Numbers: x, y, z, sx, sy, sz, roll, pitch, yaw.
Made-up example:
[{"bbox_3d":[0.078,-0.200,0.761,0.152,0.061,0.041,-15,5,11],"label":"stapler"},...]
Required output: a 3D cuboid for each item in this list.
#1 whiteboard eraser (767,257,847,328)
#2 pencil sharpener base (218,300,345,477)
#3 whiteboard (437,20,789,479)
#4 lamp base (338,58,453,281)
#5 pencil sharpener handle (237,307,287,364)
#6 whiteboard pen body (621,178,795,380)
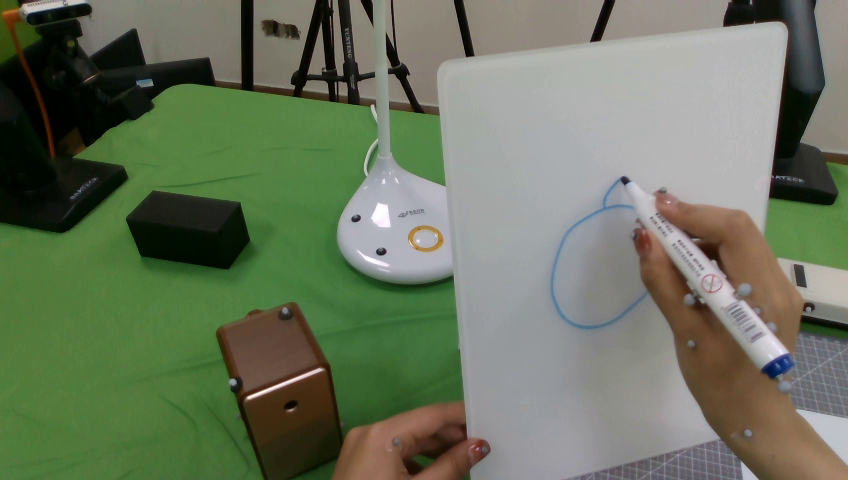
[{"bbox_3d":[0.379,0.053,0.557,0.112,0.042,0.055,11,40,14],"label":"whiteboard eraser"},{"bbox_3d":[-0.103,0.108,0.445,0.061,0.108,0.076,-19,43,-20],"label":"pencil sharpener base"},{"bbox_3d":[0.113,0.008,0.452,0.217,0.307,0.142,-9,22,-9],"label":"whiteboard"},{"bbox_3d":[-0.020,-0.078,0.610,0.161,0.182,0.177,-22,42,-24],"label":"lamp base"},{"bbox_3d":[-0.125,0.069,0.472,0.036,0.068,0.030,-26,45,-14],"label":"pencil sharpener handle"},{"bbox_3d":[0.144,0.013,0.324,0.017,0.017,0.139,-14,51,-15],"label":"whiteboard pen body"}]
